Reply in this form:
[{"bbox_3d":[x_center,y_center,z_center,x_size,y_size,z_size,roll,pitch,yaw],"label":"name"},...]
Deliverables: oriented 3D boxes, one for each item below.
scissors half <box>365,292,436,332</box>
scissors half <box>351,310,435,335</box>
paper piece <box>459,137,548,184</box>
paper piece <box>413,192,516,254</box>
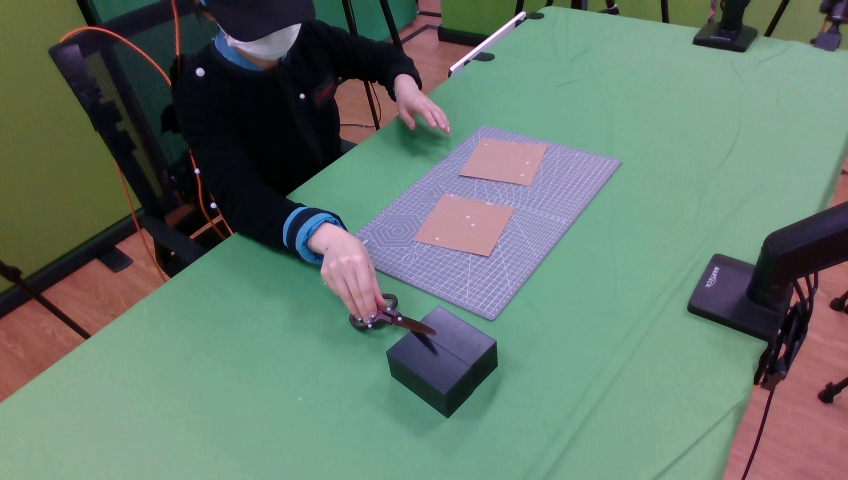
[{"bbox_3d":[-0.032,0.099,0.814,0.040,0.013,0.174,-47,28,-15],"label":"scissors half"},{"bbox_3d":[-0.044,0.112,0.806,0.174,0.013,0.040,-5,37,47],"label":"scissors half"},{"bbox_3d":[0.150,-0.152,1.131,0.135,0.009,0.138,15,43,17],"label":"paper piece"},{"bbox_3d":[0.068,-0.030,1.000,0.134,0.004,0.136,12,44,23],"label":"paper piece"}]
